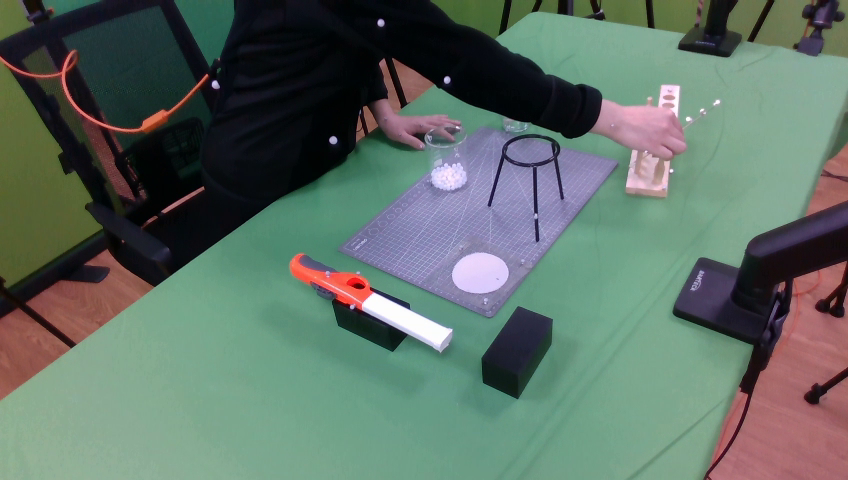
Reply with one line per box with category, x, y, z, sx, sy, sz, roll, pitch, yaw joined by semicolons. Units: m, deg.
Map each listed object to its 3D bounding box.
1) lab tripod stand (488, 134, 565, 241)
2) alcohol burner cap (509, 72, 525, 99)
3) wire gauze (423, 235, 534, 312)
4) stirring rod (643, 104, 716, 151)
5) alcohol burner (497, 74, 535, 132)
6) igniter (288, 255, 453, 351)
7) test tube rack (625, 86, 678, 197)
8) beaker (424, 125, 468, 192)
lab tripod stand;0.169;-0.093;0.972;0.148;0.132;0.147;-5;41;5
alcohol burner cap;0.181;-0.306;1.186;0.034;0.048;0.033;-7;39;6
wire gauze;0.082;0.049;0.914;0.120;0.011;0.125;26;53;32
stirring rod;0.411;-0.180;0.985;0.014;0.176;0.006;13;73;-11
alcohol burner;0.184;-0.278;1.210;0.078;0.119;0.077;-3;43;3
igniter;-0.082;0.079;0.818;0.274;0.025;0.057;23;46;27
test tube rack;0.412;-0.184;1.088;0.066;0.085;0.242;9;43;18
beaker;0.043;-0.144;1.078;0.073;0.100;0.084;28;51;34
